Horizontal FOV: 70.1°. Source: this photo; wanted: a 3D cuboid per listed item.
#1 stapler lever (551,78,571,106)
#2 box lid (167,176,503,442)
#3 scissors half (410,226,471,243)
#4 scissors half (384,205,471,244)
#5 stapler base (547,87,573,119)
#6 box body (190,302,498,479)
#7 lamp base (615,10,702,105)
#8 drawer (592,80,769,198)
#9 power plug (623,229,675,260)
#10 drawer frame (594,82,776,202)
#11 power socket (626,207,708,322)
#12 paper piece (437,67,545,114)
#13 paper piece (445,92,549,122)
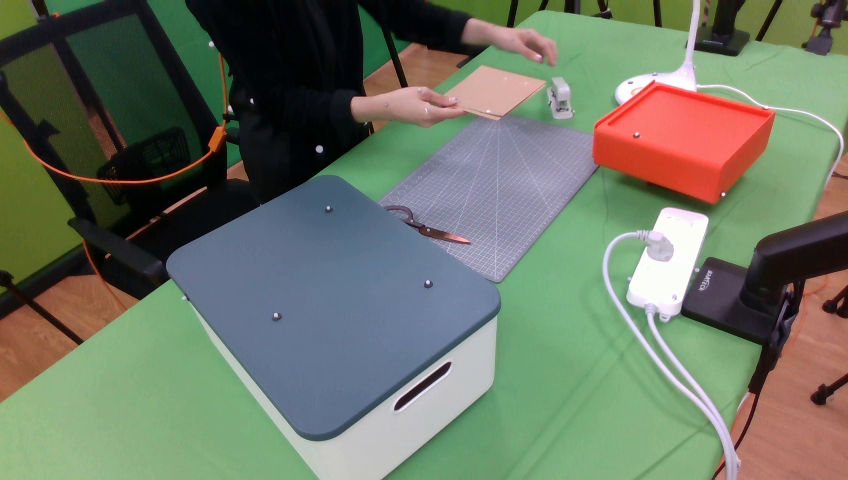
[{"bbox_3d":[0.286,-0.320,1.270,0.027,0.040,0.117,-1,38,3],"label":"stapler lever"},{"bbox_3d":[-0.119,0.047,0.714,0.264,0.015,0.368,-32,47,-27],"label":"box lid"},{"bbox_3d":[-0.007,-0.010,0.993,0.174,0.013,0.040,8,47,15],"label":"scissors half"},{"bbox_3d":[0.001,-0.024,1.005,0.174,0.013,0.040,23,58,25],"label":"scissors half"},{"bbox_3d":[0.289,-0.299,1.286,0.041,0.024,0.130,-1,39,3],"label":"stapler base"},{"bbox_3d":[-0.110,0.103,0.761,0.255,0.161,0.361,-33,46,-27],"label":"box body"},{"bbox_3d":[0.484,-0.364,1.211,0.180,0.181,0.159,-15,41,-14],"label":"lamp base"},{"bbox_3d":[0.423,-0.174,1.008,0.210,0.073,0.195,30,52,35],"label":"drawer"},{"bbox_3d":[0.327,0.007,0.878,0.072,0.053,0.035,25,51,33],"label":"power plug"},{"bbox_3d":[0.428,-0.171,1.006,0.211,0.083,0.202,29,51,36],"label":"drawer frame"},{"bbox_3d":[0.360,0.026,0.886,0.072,0.033,0.227,16,46,26],"label":"power socket"},{"bbox_3d":[0.115,-0.255,1.025,0.137,0.009,0.136,23,47,33],"label":"paper piece"},{"bbox_3d":[0.118,-0.240,1.027,0.136,0.004,0.134,-29,43,-33],"label":"paper piece"}]
